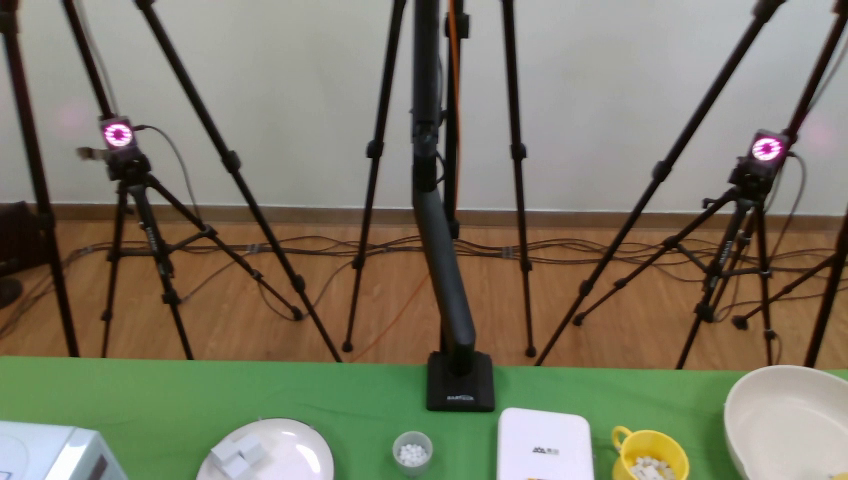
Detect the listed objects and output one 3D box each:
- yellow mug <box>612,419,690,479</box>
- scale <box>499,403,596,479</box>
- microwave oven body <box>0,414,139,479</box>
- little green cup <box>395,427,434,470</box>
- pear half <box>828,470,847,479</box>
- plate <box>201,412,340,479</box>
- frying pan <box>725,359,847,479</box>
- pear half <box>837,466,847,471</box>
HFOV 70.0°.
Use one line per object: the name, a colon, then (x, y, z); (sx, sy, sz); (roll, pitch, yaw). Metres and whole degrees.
yellow mug: (0.341, 0.334, 0.944); (0.100, 0.064, 0.129); (-21, 45, -22)
scale: (0.193, 0.351, 0.949); (0.148, 0.032, 0.199); (4, 42, 5)
microwave oven body: (-0.565, 0.441, 0.658); (0.326, 0.262, 0.437); (4, 42, 3)
little green cup: (-0.014, 0.333, 0.963); (0.061, 0.039, 0.061); (0, 41, 0)
pear half: (0.624, 0.367, 0.869); (0.075, 0.111, 0.056); (26, 48, 31)
plate: (-0.231, 0.363, 0.927); (0.208, 0.039, 0.205); (0, 41, 0)
frying pan: (0.663, 0.372, 0.875); (0.307, 0.103, 0.482); (-17, 36, -18)
pear half: (0.648, 0.357, 0.895); (0.070, 0.089, 0.031); (25, 49, 29)
